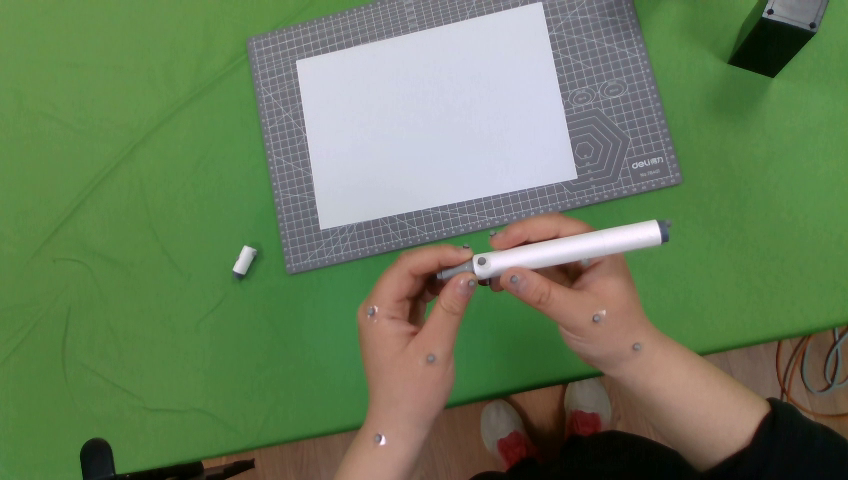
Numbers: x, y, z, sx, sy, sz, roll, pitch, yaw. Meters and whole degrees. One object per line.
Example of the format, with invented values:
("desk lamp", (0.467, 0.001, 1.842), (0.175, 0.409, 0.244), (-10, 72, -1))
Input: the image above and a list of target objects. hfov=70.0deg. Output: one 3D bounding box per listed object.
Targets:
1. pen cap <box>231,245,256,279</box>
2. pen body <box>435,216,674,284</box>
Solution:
("pen cap", (-0.211, 0.026, 0.705), (0.017, 0.017, 0.038), (25, 87, 12))
("pen body", (0.076, 0.009, 0.367), (0.144, 0.017, 0.017), (-13, 80, 11))
